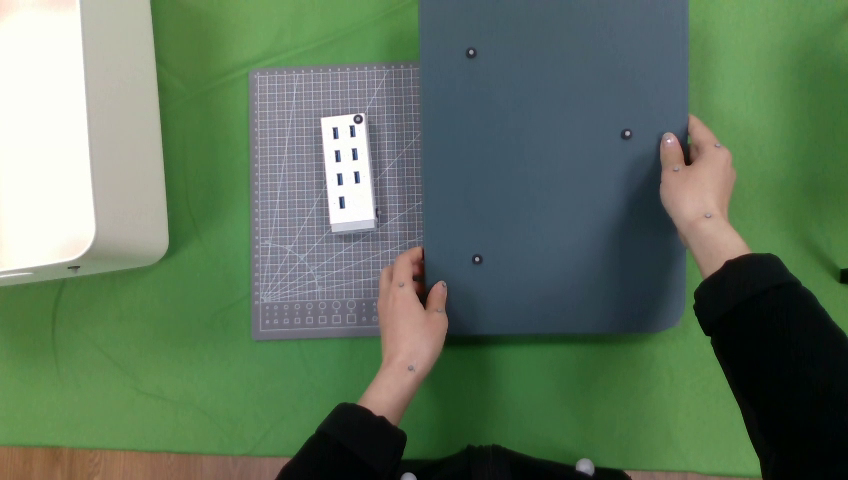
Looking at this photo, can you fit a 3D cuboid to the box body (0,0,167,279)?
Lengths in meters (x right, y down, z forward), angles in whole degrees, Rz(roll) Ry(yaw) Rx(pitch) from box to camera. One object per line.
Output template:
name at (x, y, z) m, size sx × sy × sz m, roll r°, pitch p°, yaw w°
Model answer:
box body at (-0.417, -0.143, 0.601) m, size 0.254 × 0.161 × 0.363 m, roll -8°, pitch 85°, yaw 2°

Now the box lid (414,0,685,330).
box lid at (0.124, -0.091, 0.603) m, size 0.263 × 0.015 × 0.372 m, roll -1°, pitch 95°, yaw 2°

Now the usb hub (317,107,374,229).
usb hub at (-0.083, -0.077, 0.646) m, size 0.049 × 0.025 × 0.125 m, roll -6°, pitch 85°, yaw 2°
